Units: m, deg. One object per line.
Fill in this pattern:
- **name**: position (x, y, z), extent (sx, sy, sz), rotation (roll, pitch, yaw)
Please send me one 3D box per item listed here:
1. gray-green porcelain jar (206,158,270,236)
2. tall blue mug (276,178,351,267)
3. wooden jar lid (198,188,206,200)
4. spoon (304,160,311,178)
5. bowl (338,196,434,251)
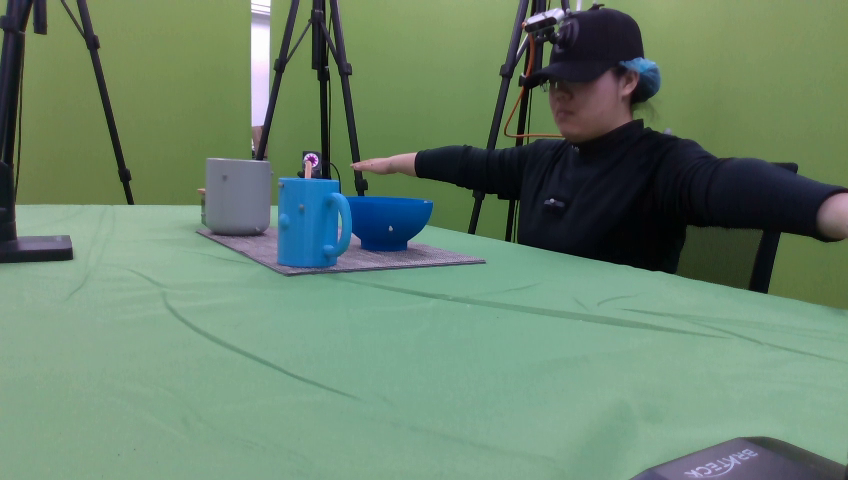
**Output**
- **gray-green porcelain jar**: position (-0.317, -0.074, 1.031), extent (0.106, 0.126, 0.106), rotation (3, 7, 0)
- **tall blue mug**: position (-0.133, -0.023, 0.767), extent (0.107, 0.108, 0.078), rotation (4, 7, 12)
- **wooden jar lid**: position (-0.382, -0.088, 1.175), extent (0.108, 0.020, 0.108), rotation (3, 8, 0)
- **spoon**: position (-0.242, -0.103, 1.251), extent (0.042, 0.021, 0.193), rotation (0, 51, -6)
- **bowl**: position (-0.061, -0.026, 0.943), extent (0.151, 0.077, 0.151), rotation (2, 7, 0)
